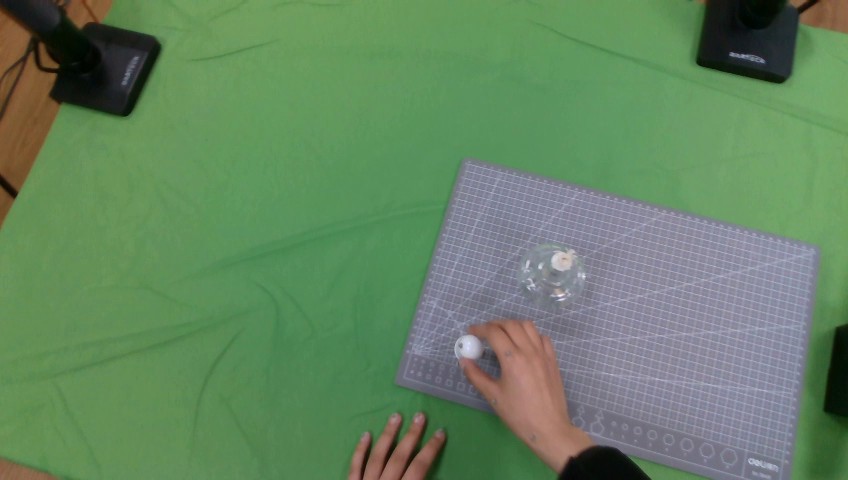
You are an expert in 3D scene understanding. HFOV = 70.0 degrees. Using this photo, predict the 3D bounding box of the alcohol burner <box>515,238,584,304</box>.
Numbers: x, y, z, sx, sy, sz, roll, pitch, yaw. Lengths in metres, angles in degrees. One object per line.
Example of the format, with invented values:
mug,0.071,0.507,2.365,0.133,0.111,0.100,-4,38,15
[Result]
alcohol burner,0.143,0.031,0.678,0.078,0.119,0.077,0,74,0

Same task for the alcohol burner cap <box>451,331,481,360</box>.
alcohol burner cap,0.048,0.116,0.672,0.034,0.048,0.033,1,76,-2
